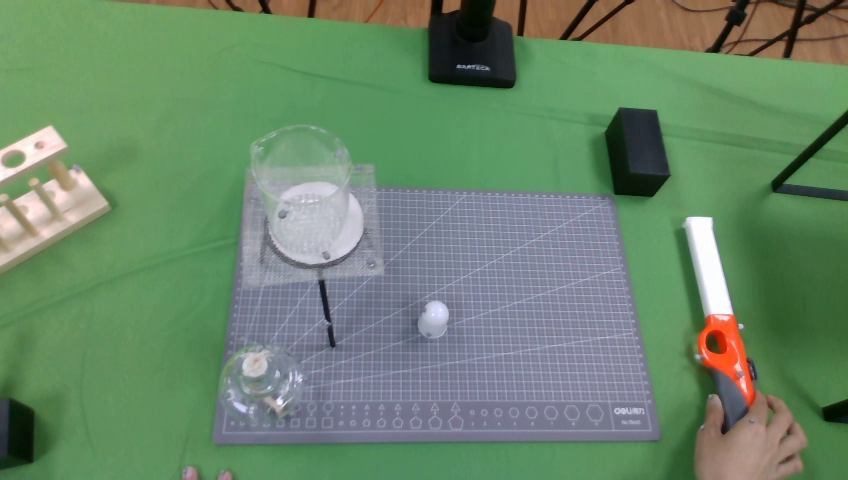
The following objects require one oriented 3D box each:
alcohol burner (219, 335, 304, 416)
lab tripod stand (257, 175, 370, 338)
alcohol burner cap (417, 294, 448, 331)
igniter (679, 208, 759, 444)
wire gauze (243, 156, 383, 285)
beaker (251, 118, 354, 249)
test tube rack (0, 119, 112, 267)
[{"bbox_3d":[-0.151,0.119,0.558,0.078,0.120,0.077,4,62,-7],"label":"alcohol burner"},{"bbox_3d":[-0.106,0.011,0.607,0.149,0.132,0.147,4,64,-7],"label":"lab tripod stand"},{"bbox_3d":[0.010,0.075,0.641,0.034,0.048,0.033,2,66,-4],"label":"alcohol burner cap"},{"bbox_3d":[0.328,0.086,0.681,0.057,0.025,0.274,1,63,-1],"label":"igniter"},{"bbox_3d":[-0.102,-0.023,0.551,0.122,0.011,0.124,-4,68,-7],"label":"wire gauze"},{"bbox_3d":[-0.101,-0.043,0.506,0.084,0.101,0.073,25,63,5],"label":"beaker"},{"bbox_3d":[-0.456,-0.016,0.606,0.242,0.086,0.066,-37,73,-22],"label":"test tube rack"}]
